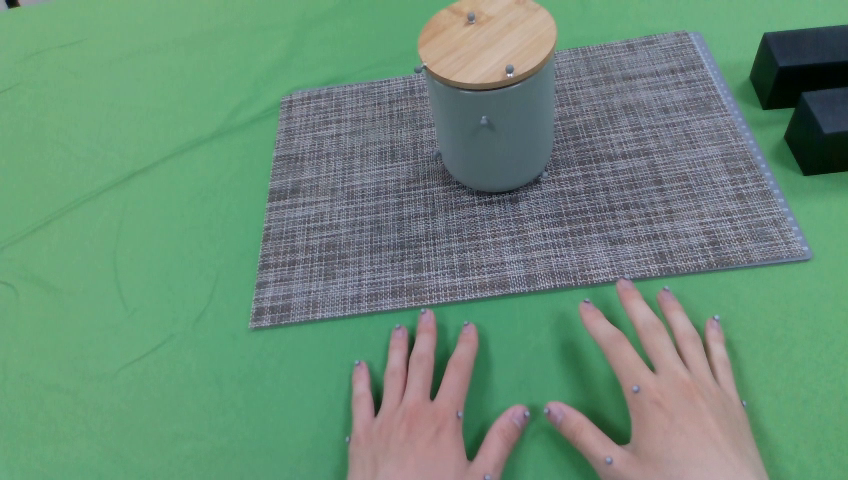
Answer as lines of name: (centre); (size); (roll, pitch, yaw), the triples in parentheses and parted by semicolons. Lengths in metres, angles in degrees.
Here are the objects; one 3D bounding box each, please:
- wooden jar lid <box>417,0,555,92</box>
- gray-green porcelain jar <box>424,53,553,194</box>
wooden jar lid: (0.049, -0.151, 0.479); (0.108, 0.021, 0.107); (-5, 56, 7)
gray-green porcelain jar: (0.060, -0.112, 0.529); (0.106, 0.128, 0.105); (-5, 52, 7)
